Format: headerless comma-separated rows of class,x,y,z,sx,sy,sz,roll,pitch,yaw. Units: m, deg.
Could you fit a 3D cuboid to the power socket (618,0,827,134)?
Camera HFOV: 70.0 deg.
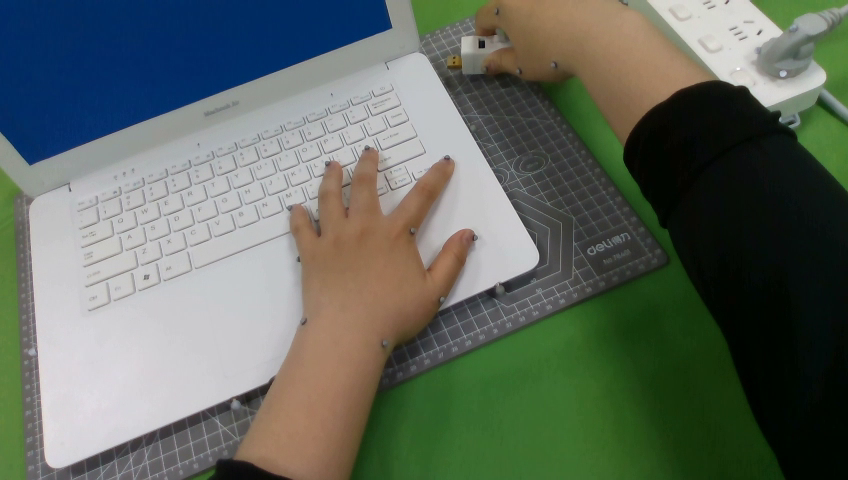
power socket,0.233,-0.178,0.501,0.072,0.033,0.224,-22,59,-4

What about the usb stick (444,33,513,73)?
usb stick,0.045,-0.157,0.510,0.059,0.027,0.021,-2,56,12

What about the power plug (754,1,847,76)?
power plug,0.283,-0.141,0.449,0.072,0.053,0.035,-12,61,0

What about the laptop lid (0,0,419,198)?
laptop lid,-0.189,-0.175,0.436,0.357,0.244,0.013,-24,46,-4

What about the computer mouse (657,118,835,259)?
computer mouse,0.220,-0.043,0.420,0.063,0.041,0.116,-28,55,-7

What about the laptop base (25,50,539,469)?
laptop base,-0.121,-0.006,0.462,0.354,0.023,0.233,-23,63,-5
